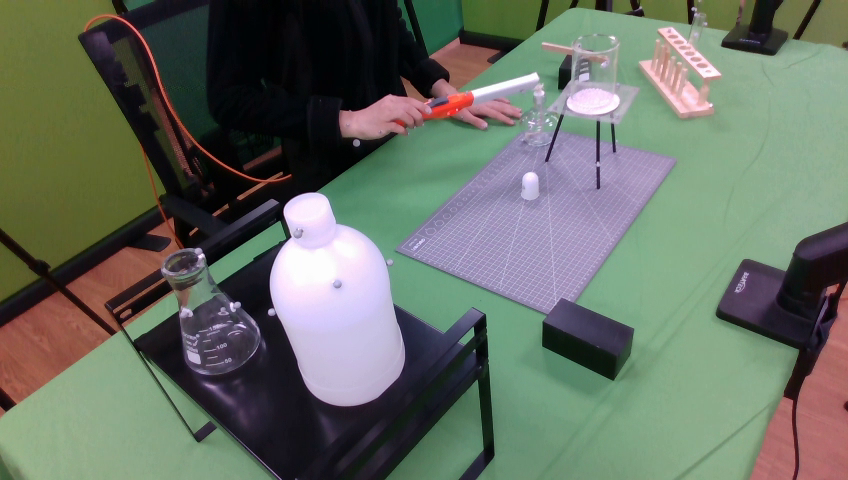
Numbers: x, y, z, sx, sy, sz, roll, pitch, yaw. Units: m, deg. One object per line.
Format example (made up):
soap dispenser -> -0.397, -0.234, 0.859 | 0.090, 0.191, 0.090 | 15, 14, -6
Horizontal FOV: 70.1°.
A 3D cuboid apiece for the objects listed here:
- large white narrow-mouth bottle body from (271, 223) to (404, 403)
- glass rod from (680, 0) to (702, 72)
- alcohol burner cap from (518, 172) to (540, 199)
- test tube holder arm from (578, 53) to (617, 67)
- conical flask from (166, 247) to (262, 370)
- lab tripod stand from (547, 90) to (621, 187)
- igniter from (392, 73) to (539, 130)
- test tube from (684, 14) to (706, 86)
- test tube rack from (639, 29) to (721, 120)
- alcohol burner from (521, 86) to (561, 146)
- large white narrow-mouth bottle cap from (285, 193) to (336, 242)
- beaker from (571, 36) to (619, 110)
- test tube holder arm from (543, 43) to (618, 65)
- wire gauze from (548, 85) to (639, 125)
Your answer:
large white narrow-mouth bottle body -> -0.077, 0.048, 0.525 | 0.102, 0.195, 0.101 | -5, 40, 5
glass rod -> 0.542, -0.417, 1.233 | 0.008, 0.200, 0.008 | 1, 40, 0
alcohol burner cap -> 0.184, -0.098, 1.049 | 0.034, 0.048, 0.033 | 4, 52, -5
test tube holder arm -> 0.376, -0.393, 1.314 | 0.087, 0.015, 0.010 | 26, 50, 32
conical flask -> -0.209, 0.063, 0.584 | 0.075, 0.122, 0.075 | -5, 40, 4
lab tripod stand -> 0.289, -0.184, 1.062 | 0.148, 0.132, 0.147 | -6, 41, 6
igniter -> 0.074, -0.243, 1.057 | 0.277, 0.057, 0.025 | -19, 72, -13
test tube -> 0.540, -0.378, 1.215 | 0.017, 0.151, 0.017 | -2, 44, 3
test tube rack -> 0.527, -0.351, 1.262 | 0.067, 0.085, 0.241 | -8, 40, 1
alcohol burner -> 0.223, -0.241, 1.155 | 0.078, 0.119, 0.077 | -5, 43, 5
large white narrow-mouth bottle cap -> -0.087, -0.018, 0.467 | 0.038, 0.024, 0.037 | -5, 40, 4
beaker -> 0.281, -0.273, 0.992 | 0.084, 0.101, 0.073 | -24, 42, -16
test tube holder arm -> 0.345, -0.413, 1.341 | 0.177, 0.015, 0.013 | 25, 50, 31
wire gauze -> 0.286, -0.233, 1.020 | 0.124, 0.011, 0.122 | 15, 44, 30
